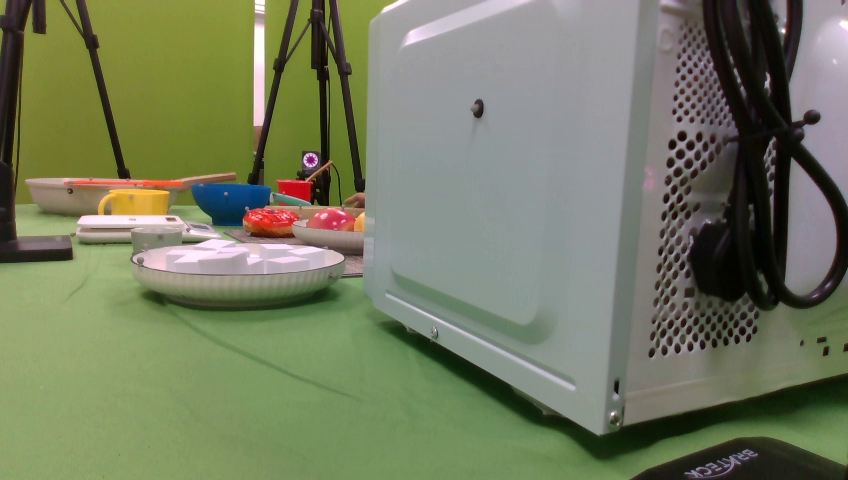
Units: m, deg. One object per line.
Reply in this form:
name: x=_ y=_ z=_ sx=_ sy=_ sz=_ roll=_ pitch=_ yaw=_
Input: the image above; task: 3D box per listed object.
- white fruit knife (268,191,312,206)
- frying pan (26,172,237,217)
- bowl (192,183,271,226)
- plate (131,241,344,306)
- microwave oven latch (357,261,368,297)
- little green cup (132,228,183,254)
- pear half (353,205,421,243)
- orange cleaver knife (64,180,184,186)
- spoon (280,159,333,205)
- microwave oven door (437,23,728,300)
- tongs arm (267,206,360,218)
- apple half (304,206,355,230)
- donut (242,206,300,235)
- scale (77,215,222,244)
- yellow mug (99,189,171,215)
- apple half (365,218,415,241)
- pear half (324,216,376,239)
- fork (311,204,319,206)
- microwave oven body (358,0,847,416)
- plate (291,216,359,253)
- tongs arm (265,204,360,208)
white fruit knife: x=-0.364 y=-0.105 z=1.464 sx=0.208 sy=0.027 sz=0.016 roll=15 pitch=-1 yaw=-34
frying pan: x=-0.624 y=-0.118 z=1.387 sx=0.305 sy=0.102 sz=0.490 roll=8 pitch=17 yaw=32
bowl: x=-0.382 y=-0.071 z=1.202 sx=0.151 sy=0.077 sz=0.151 roll=3 pitch=7 yaw=0
plate: x=-0.187 y=0.033 z=0.625 sx=0.208 sy=0.039 sz=0.207 roll=2 pitch=7 yaw=0
microwave oven latch: x=-0.019 y=0.033 z=0.531 sx=0.079 sy=0.029 sz=0.030 roll=-1 pitch=7 yaw=-27
little green cup: x=-0.342 y=0.006 z=0.779 sx=0.061 sy=0.038 sz=0.061 roll=2 pitch=8 yaw=0
pear half: x=-0.051 y=-0.024 z=0.905 sx=0.110 sy=0.056 sz=0.076 roll=0 pitch=-2 yaw=-38
orange cleaver knife: x=-0.595 y=-0.114 z=1.212 sx=0.212 sy=0.012 sz=0.077 roll=-4 pitch=6 yaw=-41
spoon: x=-0.316 y=-0.159 z=1.640 sx=0.194 sy=0.022 sz=0.041 roll=-50 pitch=32 yaw=-20
microwave oven door: x=0.180 y=-0.072 z=0.621 sx=0.358 sy=0.243 sz=0.039 roll=-2 pitch=9 yaw=-29
tongs arm: x=-0.173 y=-0.061 z=1.364 sx=0.387 sy=0.026 sz=0.050 roll=-1 pitch=3 yaw=-32
apple half: x=-0.138 y=-0.025 z=0.917 sx=0.081 sy=0.053 sz=0.074 roll=0 pitch=10 yaw=-43
donut: x=-0.263 y=-0.032 z=1.039 sx=0.099 sy=0.048 sz=0.099 roll=4 pitch=10 yaw=0
scale: x=-0.434 y=-0.019 z=0.963 sx=0.202 sy=0.031 sz=0.148 roll=-1 pitch=9 yaw=-27
yellow mug: x=-0.519 y=-0.055 z=1.080 sx=0.099 sy=0.064 sz=0.131 roll=6 pitch=9 yaw=26
apple half: x=-0.053 y=-0.019 z=0.966 sx=0.081 sy=0.033 sz=0.081 roll=-4 pitch=11 yaw=1
pear half: x=-0.119 y=-0.023 z=0.996 sx=0.088 sy=0.031 sz=0.070 roll=-4 pitch=23 yaw=-29
fork: x=-0.356 y=-0.105 z=1.526 sx=0.208 sy=0.018 sz=0.028 roll=16 pitch=-5 yaw=-41
microwave oven body: x=0.211 y=-0.047 z=0.475 sx=0.444 sy=0.260 sz=0.324 roll=-1 pitch=7 yaw=-28
plate: x=-0.103 y=-0.009 z=0.945 sx=0.209 sy=0.038 sz=0.209 roll=2 pitch=8 yaw=0
tongs arm: x=-0.210 y=-0.068 z=1.440 sx=0.389 sy=0.027 sz=0.028 roll=0 pitch=-1 yaw=-18
